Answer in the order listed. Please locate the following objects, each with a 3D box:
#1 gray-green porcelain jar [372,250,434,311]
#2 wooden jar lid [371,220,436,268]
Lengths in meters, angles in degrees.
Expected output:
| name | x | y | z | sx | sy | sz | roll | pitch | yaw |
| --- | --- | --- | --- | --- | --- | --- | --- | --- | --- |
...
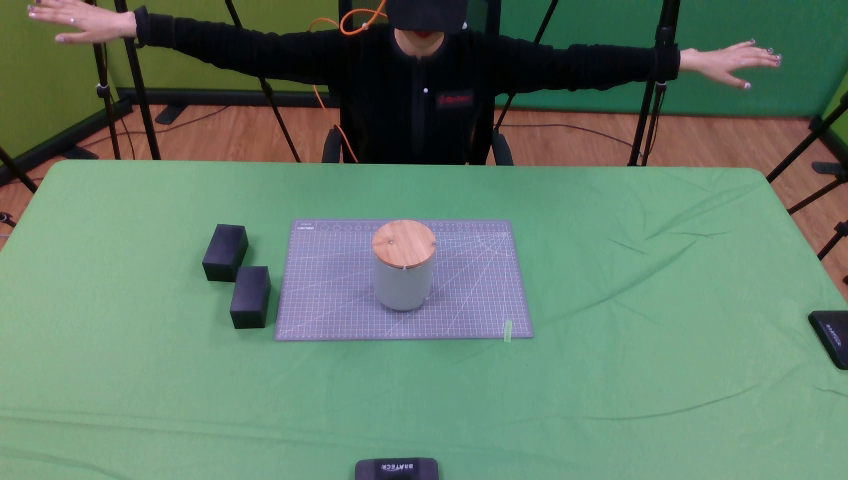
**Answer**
| name | x | y | z | sx | sy | sz | roll | pitch | yaw |
| --- | --- | --- | --- | --- | --- | --- | --- | --- | --- |
| gray-green porcelain jar | -0.037 | 0.054 | 1.066 | 0.106 | 0.127 | 0.105 | 2 | 46 | -2 |
| wooden jar lid | -0.034 | 0.009 | 1.020 | 0.108 | 0.021 | 0.107 | 2 | 47 | -2 |
